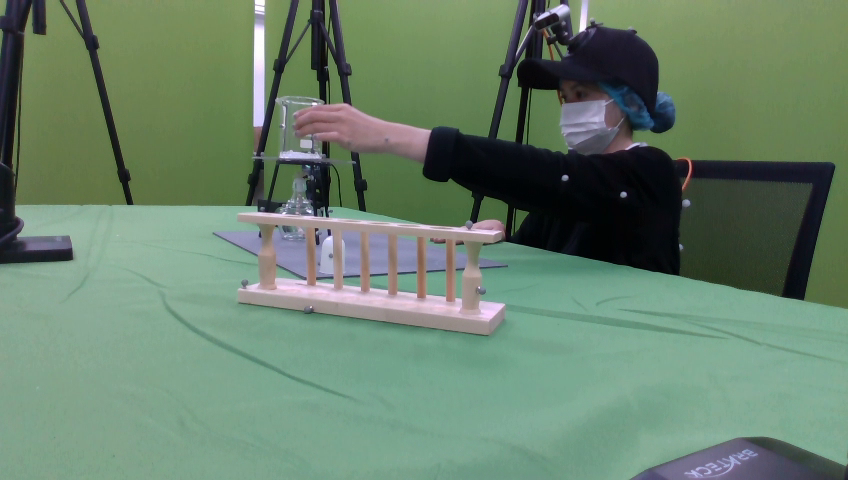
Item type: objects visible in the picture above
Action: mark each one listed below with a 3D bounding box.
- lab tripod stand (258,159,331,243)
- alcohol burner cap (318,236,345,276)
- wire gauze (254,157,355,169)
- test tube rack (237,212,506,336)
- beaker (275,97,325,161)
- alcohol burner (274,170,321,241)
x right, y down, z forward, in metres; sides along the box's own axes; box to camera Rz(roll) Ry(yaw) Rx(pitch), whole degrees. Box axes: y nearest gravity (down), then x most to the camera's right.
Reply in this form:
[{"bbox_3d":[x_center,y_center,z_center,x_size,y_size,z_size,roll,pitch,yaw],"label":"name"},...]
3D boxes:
[{"bbox_3d":[-0.202,-0.067,1.010,0.148,0.131,0.148,2,5,0],"label":"lab tripod stand"},{"bbox_3d":[-0.110,0.019,0.723,0.034,0.048,0.034,2,6,0],"label":"alcohol burner cap"},{"bbox_3d":[-0.197,-0.131,0.999,0.121,0.011,0.125,7,5,21],"label":"wire gauze"},{"bbox_3d":[-0.049,0.024,0.552,0.242,0.085,0.067,5,8,18],"label":"test tube rack"},{"bbox_3d":[-0.204,-0.179,0.989,0.084,0.100,0.073,-3,8,-40],"label":"beaker"},{"bbox_3d":[-0.212,-0.058,1.015,0.078,0.119,0.078,4,6,0],"label":"alcohol burner"}]
